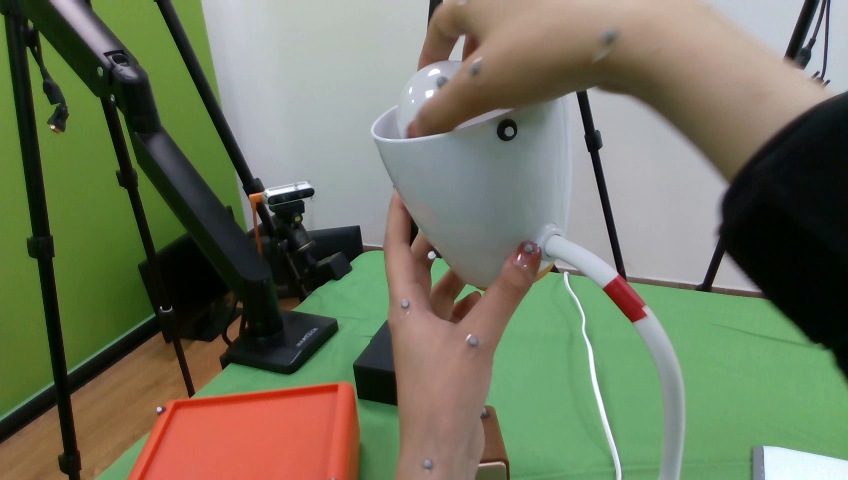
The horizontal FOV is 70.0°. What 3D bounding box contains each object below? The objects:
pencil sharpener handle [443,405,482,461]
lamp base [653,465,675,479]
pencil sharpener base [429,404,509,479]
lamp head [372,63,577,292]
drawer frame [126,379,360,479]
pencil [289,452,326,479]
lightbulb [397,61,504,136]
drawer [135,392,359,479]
[{"bbox_3d":[0.034,0.177,0.577,0.036,0.068,0.030,-1,24,-3],"label":"pencil sharpener handle"},{"bbox_3d":[0.151,0.240,0.356,0.161,0.181,0.178,-8,21,-5],"label":"lamp base"},{"bbox_3d":[0.039,0.209,0.536,0.061,0.108,0.076,-6,25,-1],"label":"pencil sharpener base"},{"bbox_3d":[0.042,-0.030,0.358,0.112,0.124,0.111,-19,20,8],"label":"lamp head"},{"bbox_3d":[-0.165,0.232,0.553,0.202,0.083,0.212,-6,24,-2],"label":"drawer frame"},{"bbox_3d":[-0.160,0.251,0.524,0.194,0.012,0.012,-37,38,-30],"label":"pencil"},{"bbox_3d":[0.025,-0.050,0.350,0.059,0.108,0.059,-23,27,13],"label":"lightbulb"},{"bbox_3d":[-0.163,0.234,0.551,0.194,0.074,0.210,-6,24,-1],"label":"drawer"}]
